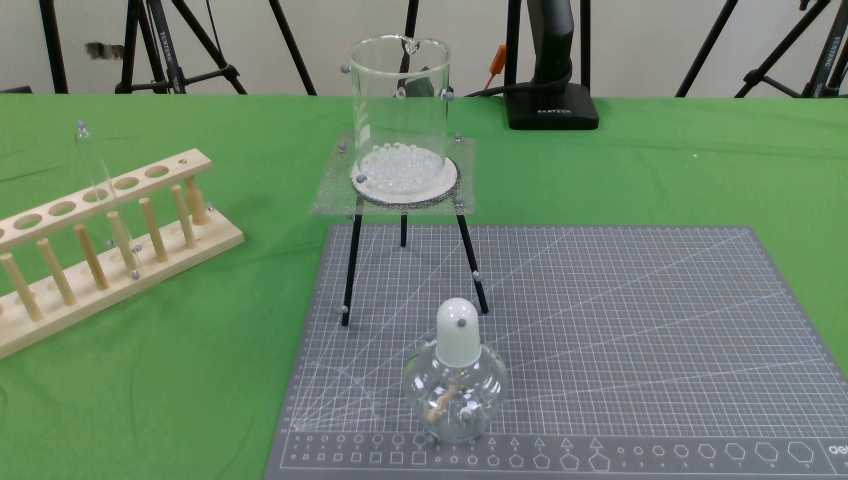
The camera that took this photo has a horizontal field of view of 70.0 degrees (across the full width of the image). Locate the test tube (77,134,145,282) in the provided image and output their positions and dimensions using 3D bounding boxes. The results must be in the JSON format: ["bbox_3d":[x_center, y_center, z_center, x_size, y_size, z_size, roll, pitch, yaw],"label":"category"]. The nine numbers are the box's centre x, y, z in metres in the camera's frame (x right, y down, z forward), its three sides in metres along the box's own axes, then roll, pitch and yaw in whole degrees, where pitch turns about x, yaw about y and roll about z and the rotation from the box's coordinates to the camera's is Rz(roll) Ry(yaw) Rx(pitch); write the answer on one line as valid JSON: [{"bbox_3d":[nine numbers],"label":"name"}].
[{"bbox_3d":[-0.273,-0.024,0.532,0.017,0.151,0.017,0,37,0],"label":"test tube"}]

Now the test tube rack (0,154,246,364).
[{"bbox_3d":[-0.297,0.010,0.561,0.242,0.086,0.066,-30,47,-32],"label":"test tube rack"}]

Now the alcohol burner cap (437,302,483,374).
[{"bbox_3d":[0.024,0.063,0.406,0.034,0.048,0.033,-2,38,2],"label":"alcohol burner cap"}]

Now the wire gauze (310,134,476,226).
[{"bbox_3d":[-0.019,-0.050,0.485,0.121,0.011,0.124,2,40,3],"label":"wire gauze"}]

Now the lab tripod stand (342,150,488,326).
[{"bbox_3d":[-0.010,0.000,0.528,0.148,0.132,0.147,1,37,0],"label":"lab tripod stand"}]

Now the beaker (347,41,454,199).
[{"bbox_3d":[-0.017,-0.090,0.456,0.074,0.101,0.083,8,39,7],"label":"beaker"}]

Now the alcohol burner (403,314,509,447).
[{"bbox_3d":[0.023,0.091,0.428,0.078,0.120,0.077,0,40,0],"label":"alcohol burner"}]
